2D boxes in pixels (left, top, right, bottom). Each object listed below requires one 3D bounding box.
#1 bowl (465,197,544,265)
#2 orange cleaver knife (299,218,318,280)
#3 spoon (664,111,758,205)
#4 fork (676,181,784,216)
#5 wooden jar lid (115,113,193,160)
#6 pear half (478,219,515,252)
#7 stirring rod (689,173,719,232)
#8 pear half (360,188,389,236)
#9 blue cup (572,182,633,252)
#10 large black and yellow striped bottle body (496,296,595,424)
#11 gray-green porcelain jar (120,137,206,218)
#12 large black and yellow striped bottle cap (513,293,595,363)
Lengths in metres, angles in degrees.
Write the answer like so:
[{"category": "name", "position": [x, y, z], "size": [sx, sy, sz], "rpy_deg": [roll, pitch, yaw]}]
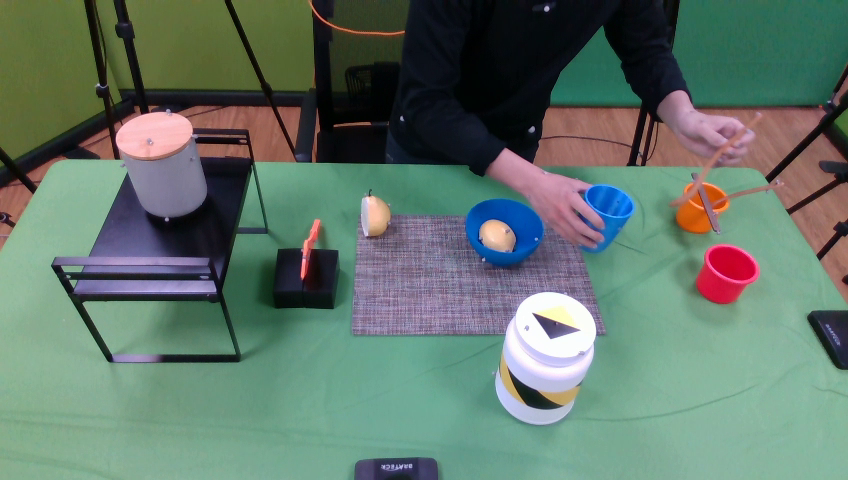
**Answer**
[{"category": "bowl", "position": [0.149, -0.004, 1.167], "size": [0.151, 0.077, 0.150], "rpy_deg": [3, 46, -3]}, {"category": "orange cleaver knife", "position": [-0.214, 0.013, 1.125], "size": [0.012, 0.077, 0.210], "rpy_deg": [6, 17, -5]}, {"category": "spoon", "position": [0.453, -0.127, 0.963], "size": [0.021, 0.194, 0.041], "rpy_deg": [41, 30, 15]}, {"category": "fork", "position": [0.618, -0.084, 1.234], "size": [0.207, 0.019, 0.028], "rpy_deg": [-23, 20, 38]}, {"category": "wooden jar lid", "position": [-0.399, -0.151, 0.900], "size": [0.108, 0.021, 0.107], "rpy_deg": [3, 46, -3]}, {"category": "pear half", "position": [0.143, -0.011, 1.164], "size": [0.070, 0.031, 0.087], "rpy_deg": [-18, 55, -14]}, {"category": "stirring rod", "position": [0.566, -0.079, 1.225], "size": [0.014, 0.006, 0.175], "rpy_deg": [3, 45, 1]}, {"category": "pear half", "position": [-0.096, -0.060, 1.181], "size": [0.056, 0.110, 0.076], "rpy_deg": [-13, 52, -17]}, {"category": "blue cup", "position": [0.299, -0.034, 1.044], "size": [0.093, 0.100, 0.092], "rpy_deg": [6, 44, -6]}, {"category": "large black and yellow striped bottle body", "position": [0.183, 0.182, 0.923], "size": [0.131, 0.185, 0.130], "rpy_deg": [2, 46, -2]}, {"category": "gray-green porcelain jar", "position": [-0.403, -0.106, 0.946], "size": [0.106, 0.127, 0.105], "rpy_deg": [3, 46, -2]}, {"category": "large black and yellow striped bottle cap", "position": [0.186, 0.123, 0.863], "size": [0.115, 0.019, 0.114], "rpy_deg": [3, 45, -3]}]
